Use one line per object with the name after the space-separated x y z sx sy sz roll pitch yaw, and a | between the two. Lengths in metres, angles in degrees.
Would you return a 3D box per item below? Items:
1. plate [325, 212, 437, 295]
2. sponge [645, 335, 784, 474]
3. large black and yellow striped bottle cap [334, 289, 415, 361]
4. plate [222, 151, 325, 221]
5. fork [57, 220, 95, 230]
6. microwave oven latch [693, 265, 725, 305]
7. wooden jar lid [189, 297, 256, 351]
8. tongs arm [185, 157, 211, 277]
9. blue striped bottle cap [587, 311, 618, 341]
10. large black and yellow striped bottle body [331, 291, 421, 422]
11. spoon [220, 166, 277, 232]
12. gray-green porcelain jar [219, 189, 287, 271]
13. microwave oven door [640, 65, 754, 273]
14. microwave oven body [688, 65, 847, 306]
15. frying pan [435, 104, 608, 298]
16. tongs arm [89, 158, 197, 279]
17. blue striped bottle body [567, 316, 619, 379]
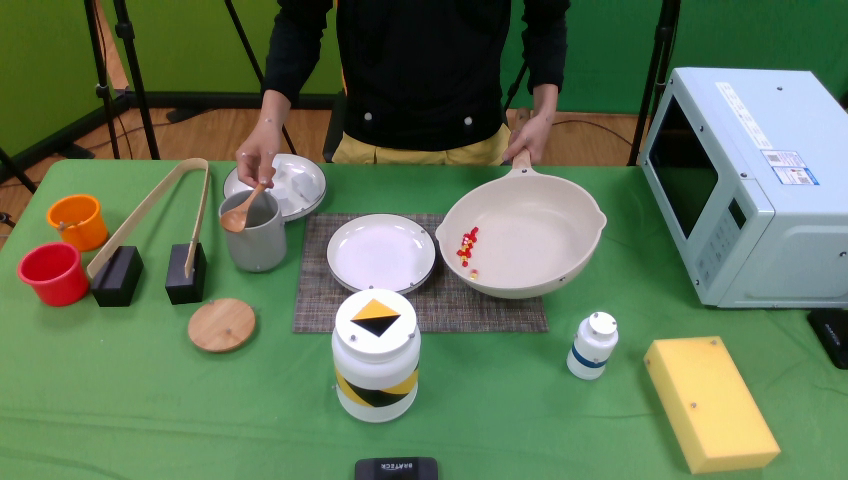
-0.081 0.030 1.143 0.209 0.038 0.208 3 46 -2 | plate
0.449 0.253 0.956 0.118 0.061 0.205 -4 46 -7 | sponge
-0.069 0.117 0.850 0.115 0.019 0.114 2 45 -2 | large black and yellow striped bottle cap
-0.310 -0.106 1.263 0.208 0.039 0.206 2 47 -2 | plate
-0.624 -0.027 1.086 0.028 0.207 0.018 -2 91 -17 | fork
0.523 0.081 1.115 0.030 0.029 0.078 2 46 -1 | microwave oven latch
-0.342 0.145 1.033 0.108 0.021 0.107 3 45 -2 | wooden jar lid
-0.446 -0.058 1.168 0.051 0.026 0.382 -5 37 -6 | tongs arm
0.279 0.134 0.946 0.044 0.021 0.044 2 45 -2 | blue striped bottle cap
-0.072 0.175 0.911 0.131 0.185 0.130 2 47 -2 | large black and yellow striped bottle body
-0.304 -0.078 1.073 0.042 0.022 0.193 33 45 -9 | spoon
-0.310 -0.014 1.113 0.106 0.127 0.105 2 46 -2 | gray-green porcelain jar
0.523 -0.147 1.193 0.039 0.245 0.353 0 47 -3 | microwave oven door
0.669 -0.111 1.176 0.326 0.261 0.439 0 46 -3 | microwave oven body
0.189 -0.091 1.158 0.306 0.103 0.485 -2 54 17 | frying pan
-0.530 -0.057 1.164 0.028 0.028 0.385 1 36 8 | tongs arm
0.276 0.168 0.984 0.063 0.121 0.062 2 46 -2 | blue striped bottle body
